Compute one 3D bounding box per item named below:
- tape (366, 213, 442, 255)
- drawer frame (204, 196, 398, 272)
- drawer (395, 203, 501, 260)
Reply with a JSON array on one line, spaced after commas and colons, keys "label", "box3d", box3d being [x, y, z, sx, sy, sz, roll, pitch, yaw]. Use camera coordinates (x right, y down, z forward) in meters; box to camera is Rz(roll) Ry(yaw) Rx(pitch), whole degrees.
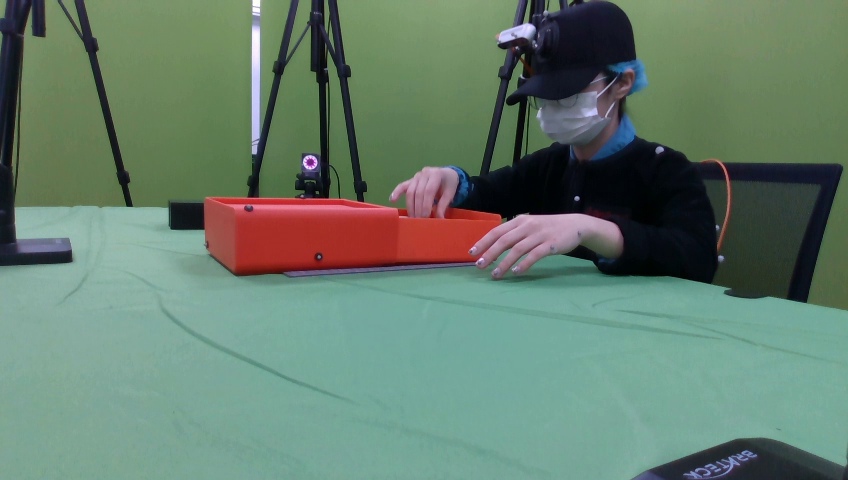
[{"label": "tape", "box3d": [-0.029, -0.010, 0.909, 0.117, 0.052, 0.117, 5, 6, 0]}, {"label": "drawer frame", "box3d": [-0.172, -0.016, 0.828, 0.215, 0.082, 0.200, -3, 9, -30]}, {"label": "drawer", "box3d": [-0.025, -0.017, 0.913, 0.213, 0.073, 0.193, -1, 9, -31]}]
